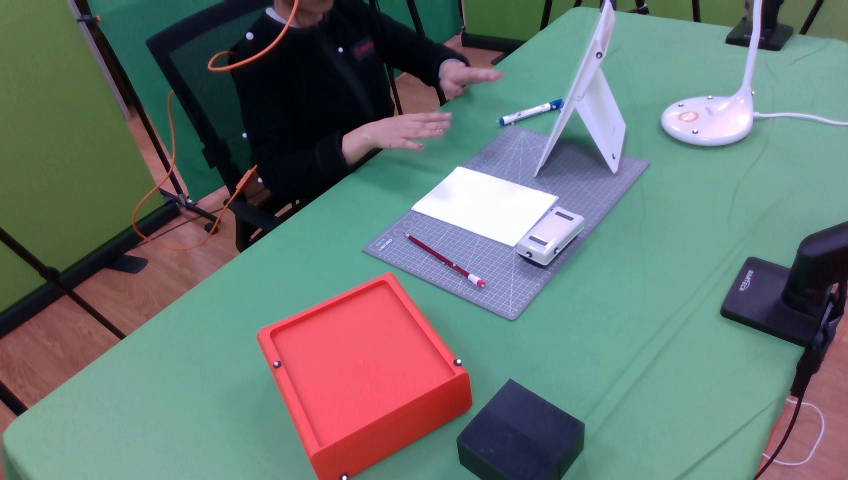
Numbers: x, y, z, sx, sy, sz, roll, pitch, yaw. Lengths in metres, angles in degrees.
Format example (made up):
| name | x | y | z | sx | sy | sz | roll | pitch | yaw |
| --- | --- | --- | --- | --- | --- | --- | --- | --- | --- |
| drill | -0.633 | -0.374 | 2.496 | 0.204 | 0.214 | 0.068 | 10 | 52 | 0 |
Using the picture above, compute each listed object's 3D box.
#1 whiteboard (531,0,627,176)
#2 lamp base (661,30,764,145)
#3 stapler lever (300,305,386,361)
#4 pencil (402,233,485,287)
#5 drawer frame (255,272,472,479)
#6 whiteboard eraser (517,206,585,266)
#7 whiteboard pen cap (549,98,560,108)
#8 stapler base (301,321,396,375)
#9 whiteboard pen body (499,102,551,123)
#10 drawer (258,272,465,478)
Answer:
| name | x | y | z | sx | sy | sz | roll | pitch | yaw |
| --- | --- | --- | --- | --- | --- | --- | --- | --- | --- |
| whiteboard | 0.322 | -0.259 | 1.050 | 0.143 | 0.306 | 0.217 | 22 | 46 | 6 |
| lamp base | 0.535 | -0.287 | 1.096 | 0.179 | 0.181 | 0.159 | -10 | 40 | -4 |
| stapler lever | -0.107 | 0.121 | 0.799 | 0.118 | 0.040 | 0.026 | -19 | 38 | -13 |
| pencil | 0.026 | 0.027 | 0.949 | 0.012 | 0.012 | 0.192 | -34 | 45 | -26 |
| drawer frame | -0.079 | 0.161 | 0.760 | 0.202 | 0.083 | 0.211 | -24 | 43 | -18 |
| whiteboard eraser | 0.196 | -0.005 | 0.931 | 0.055 | 0.042 | 0.113 | 25 | 51 | 35 |
| whiteboard pen cap | 0.275 | -0.287 | 1.268 | 0.033 | 0.018 | 0.018 | -18 | 41 | -14 |
| stapler base | -0.103 | 0.138 | 0.814 | 0.131 | 0.024 | 0.041 | -20 | 38 | -12 |
| whiteboard pen body | 0.221 | -0.268 | 1.257 | 0.141 | 0.017 | 0.017 | -19 | 41 | -13 |
| drawer | -0.082 | 0.159 | 0.764 | 0.195 | 0.073 | 0.210 | -23 | 43 | -17 |
